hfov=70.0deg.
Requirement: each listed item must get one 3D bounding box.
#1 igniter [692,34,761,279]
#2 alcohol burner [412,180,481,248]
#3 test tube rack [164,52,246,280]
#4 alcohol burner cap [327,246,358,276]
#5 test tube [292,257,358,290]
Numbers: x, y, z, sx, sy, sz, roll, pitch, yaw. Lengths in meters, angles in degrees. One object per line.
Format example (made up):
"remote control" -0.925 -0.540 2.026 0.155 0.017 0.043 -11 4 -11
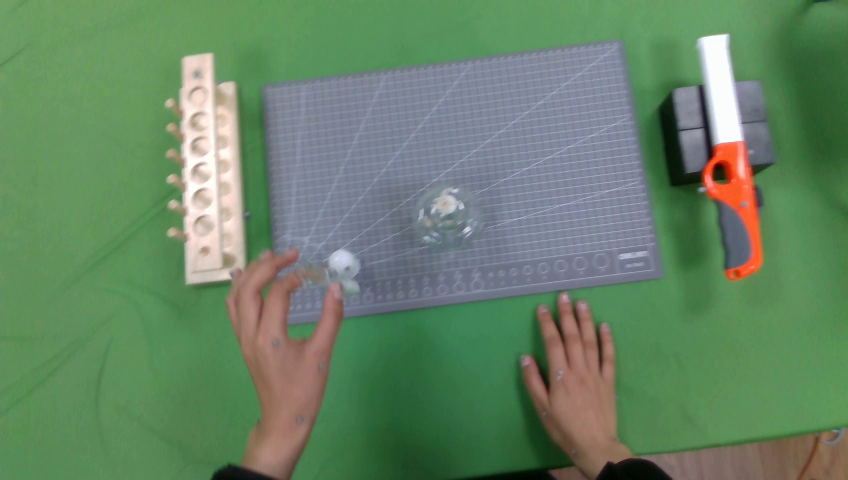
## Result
"igniter" 0.330 -0.095 0.665 0.057 0.025 0.275 -5 80 7
"alcohol burner" 0.024 -0.032 0.663 0.078 0.119 0.077 0 81 3
"test tube rack" -0.257 -0.082 0.695 0.067 0.085 0.241 -6 80 1
"alcohol burner cap" -0.095 0.022 0.692 0.034 0.048 0.033 0 79 2
"test tube" -0.084 0.032 0.542 0.017 0.151 0.017 -1 81 8
